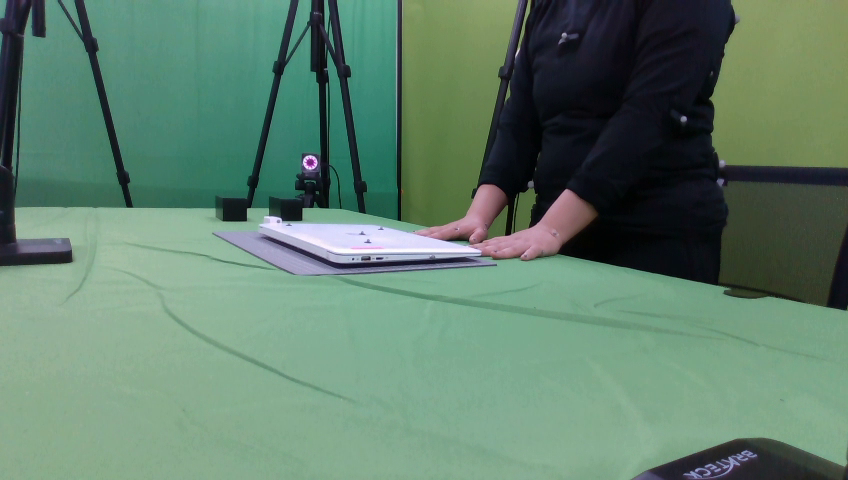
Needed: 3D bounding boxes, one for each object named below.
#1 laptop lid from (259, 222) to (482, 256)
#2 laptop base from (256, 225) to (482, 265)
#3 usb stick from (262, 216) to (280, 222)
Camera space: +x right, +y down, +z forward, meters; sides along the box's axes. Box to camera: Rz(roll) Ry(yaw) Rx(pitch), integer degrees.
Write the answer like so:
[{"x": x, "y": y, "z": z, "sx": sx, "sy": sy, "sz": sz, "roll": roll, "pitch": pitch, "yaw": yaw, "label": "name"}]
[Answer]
[{"x": -0.100, "y": -0.005, "z": 0.961, "sx": 0.243, "sy": 0.013, "sz": 0.355, "roll": 1, "pitch": 7, "yaw": -30, "label": "laptop lid"}, {"x": -0.103, "y": 0.007, "z": 0.961, "sx": 0.237, "sy": 0.023, "sz": 0.352, "roll": 2, "pitch": 6, "yaw": -32, "label": "laptop base"}, {"x": -0.271, "y": -0.028, "z": 1.079, "sx": 0.021, "sy": 0.027, "sz": 0.059, "roll": -1, "pitch": 10, "yaw": -29, "label": "usb stick"}]
